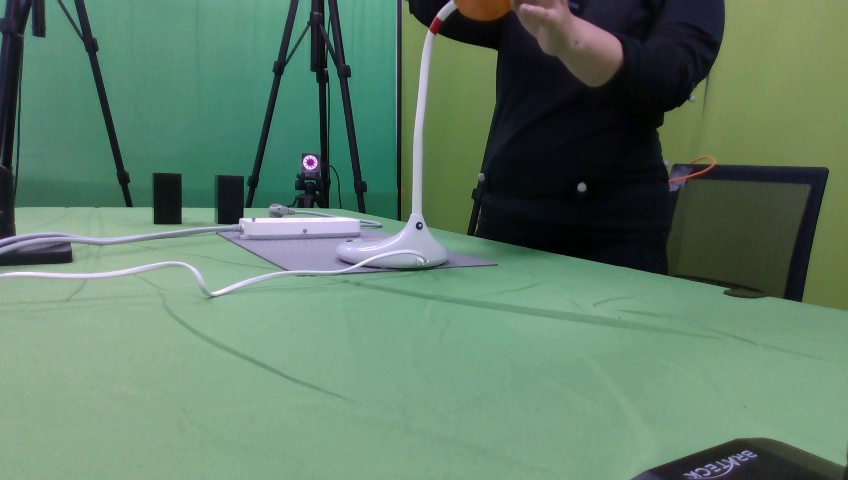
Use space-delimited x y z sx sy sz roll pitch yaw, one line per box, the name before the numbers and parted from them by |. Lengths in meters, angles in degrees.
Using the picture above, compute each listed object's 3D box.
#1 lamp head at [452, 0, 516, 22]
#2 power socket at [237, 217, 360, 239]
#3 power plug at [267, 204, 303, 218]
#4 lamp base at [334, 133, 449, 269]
lamp head | 0.068 -0.318 0.699 0.112 0.122 0.112 7 -1 1
power socket | -0.221 -0.023 1.080 0.228 0.032 0.072 -2 8 -33
power plug | -0.327 -0.060 1.404 0.073 0.035 0.052 22 -14 -26
lamp base | -0.034 -0.057 0.831 0.161 0.180 0.178 -3 12 -36
